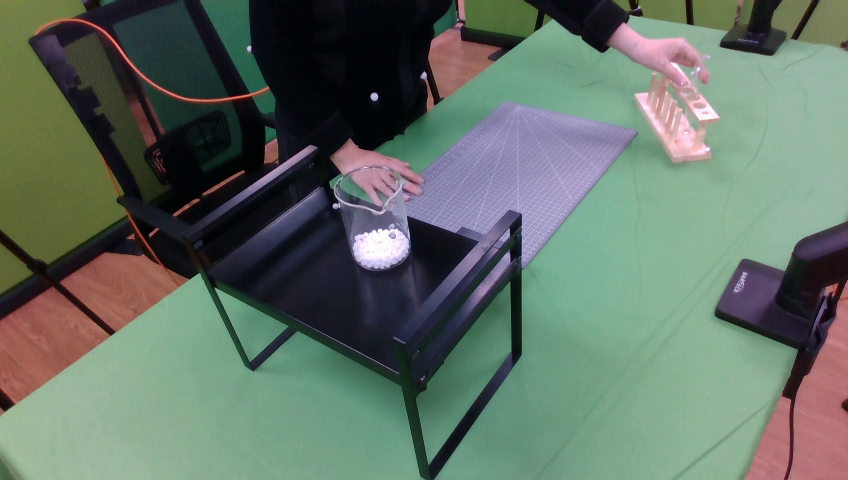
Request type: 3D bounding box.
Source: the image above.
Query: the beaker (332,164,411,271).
[{"bbox_3d":[-0.053,-0.020,0.669,0.074,0.101,0.083,-19,42,-12],"label":"beaker"}]

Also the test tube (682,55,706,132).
[{"bbox_3d":[0.481,-0.258,1.080,0.017,0.151,0.017,-5,43,5],"label":"test tube"}]

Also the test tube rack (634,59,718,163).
[{"bbox_3d":[0.470,-0.250,1.148,0.067,0.085,0.241,-6,40,3],"label":"test tube rack"}]
